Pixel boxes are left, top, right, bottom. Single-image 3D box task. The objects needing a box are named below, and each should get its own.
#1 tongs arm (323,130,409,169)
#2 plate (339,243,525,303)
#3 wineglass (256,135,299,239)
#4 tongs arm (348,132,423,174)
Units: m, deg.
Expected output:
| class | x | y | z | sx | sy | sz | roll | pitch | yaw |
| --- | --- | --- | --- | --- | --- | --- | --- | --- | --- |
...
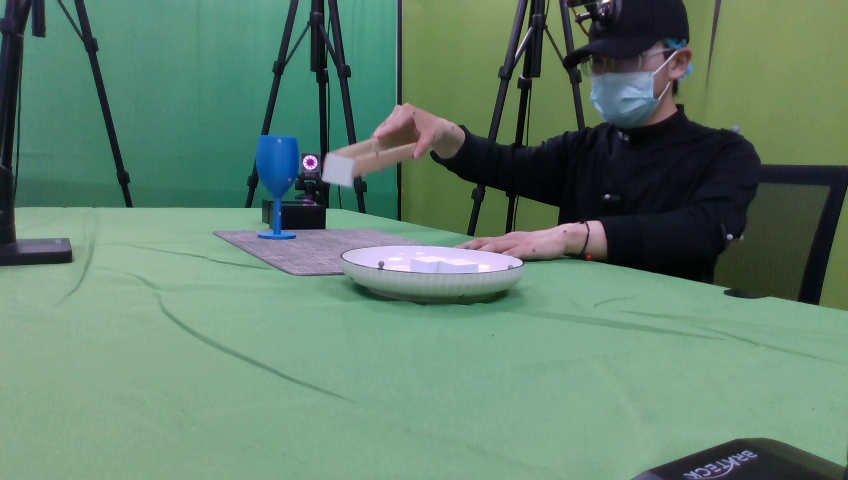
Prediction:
| class | x | y | z | sx | sy | sz | roll | pitch | yaw |
| --- | --- | --- | --- | --- | --- | --- | --- | --- | --- |
| tongs arm | -0.081 | -0.145 | 0.930 | 0.028 | 0.028 | 0.388 | 10 | 15 | 10 |
| plate | 0.008 | 0.035 | 0.682 | 0.209 | 0.038 | 0.209 | 3 | 7 | 0 |
| wineglass | -0.252 | -0.091 | 1.036 | 0.074 | 0.172 | 0.073 | 2 | 7 | 0 |
| tongs arm | -0.058 | -0.139 | 0.926 | 0.050 | 0.026 | 0.385 | 14 | 16 | 13 |
